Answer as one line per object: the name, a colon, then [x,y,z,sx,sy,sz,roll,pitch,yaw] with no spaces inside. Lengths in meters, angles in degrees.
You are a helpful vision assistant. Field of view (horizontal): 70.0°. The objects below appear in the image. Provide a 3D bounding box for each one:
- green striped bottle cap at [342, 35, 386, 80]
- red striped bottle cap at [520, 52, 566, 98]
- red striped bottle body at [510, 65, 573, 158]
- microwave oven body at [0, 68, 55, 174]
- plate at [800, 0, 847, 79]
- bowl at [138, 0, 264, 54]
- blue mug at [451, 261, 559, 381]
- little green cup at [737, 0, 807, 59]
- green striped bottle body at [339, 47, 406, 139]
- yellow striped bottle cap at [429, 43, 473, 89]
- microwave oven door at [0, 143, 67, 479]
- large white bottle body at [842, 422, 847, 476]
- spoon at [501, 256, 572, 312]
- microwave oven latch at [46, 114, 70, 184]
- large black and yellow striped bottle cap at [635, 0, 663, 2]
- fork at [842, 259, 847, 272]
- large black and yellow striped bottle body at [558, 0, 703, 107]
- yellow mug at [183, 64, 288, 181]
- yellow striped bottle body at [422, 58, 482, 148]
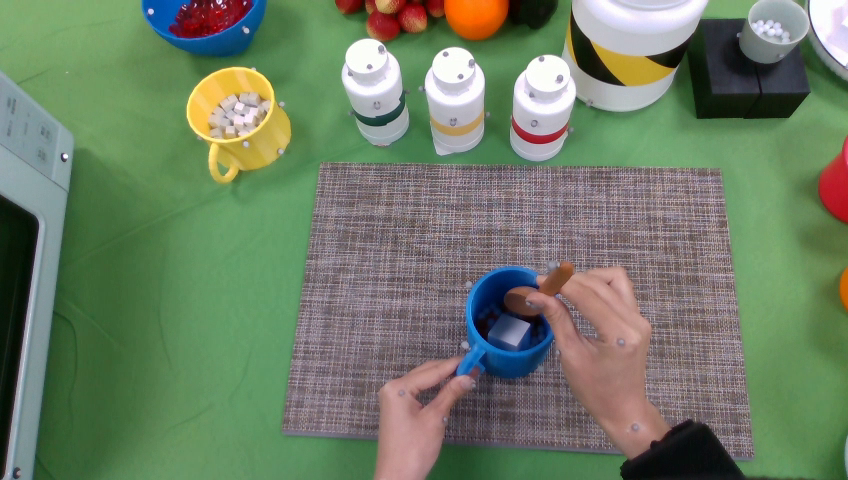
green striped bottle cap: [-0.062,-0.187,0.620,0.044,0.020,0.044,-1,68,3]
red striped bottle cap: [0.118,-0.163,0.596,0.044,0.018,0.044,0,68,1]
red striped bottle body: [0.123,-0.143,0.645,0.063,0.120,0.062,-3,67,7]
microwave oven body: [-0.568,0.043,0.550,0.326,0.262,0.438,-7,69,2]
plate: [0.538,-0.251,0.696,0.209,0.038,0.207,-1,70,4]
bowl: [-0.263,-0.286,0.753,0.151,0.077,0.150,-1,69,4]
blue mug: [0.068,0.087,0.566,0.082,0.106,0.116,42,77,18]
little green cup: [0.367,-0.225,0.645,0.061,0.039,0.061,-1,67,2]
green striped bottle body: [-0.056,-0.167,0.669,0.063,0.120,0.062,-2,69,4]
yellow striped bottle cap: [0.027,-0.175,0.609,0.044,0.019,0.044,-1,70,4]
microwave oven door: [-0.419,0.062,0.526,0.039,0.245,0.353,-7,69,3]
large white bottle body: [0.436,0.171,0.465,0.130,0.186,0.129,-2,68,5]
spoon: [0.092,0.039,0.484,0.041,0.194,0.021,17,79,3]
microwave oven latch: [-0.431,-0.104,0.699,0.030,0.030,0.078,-6,70,2]
large black and yellow striped bottle cap: [0.209,-0.272,0.562,0.115,0.019,0.114,-2,68,5]
fork: [0.468,0.055,0.525,0.028,0.019,0.205,-36,26,-8]
large black and yellow striped bottle body: [0.217,-0.243,0.641,0.131,0.185,0.130,-2,69,5]
yellow mug: [-0.220,-0.129,0.696,0.100,0.064,0.130,11,71,8]
yellow striped bottle body: [0.032,-0.156,0.657,0.063,0.121,0.062,-2,68,5]
